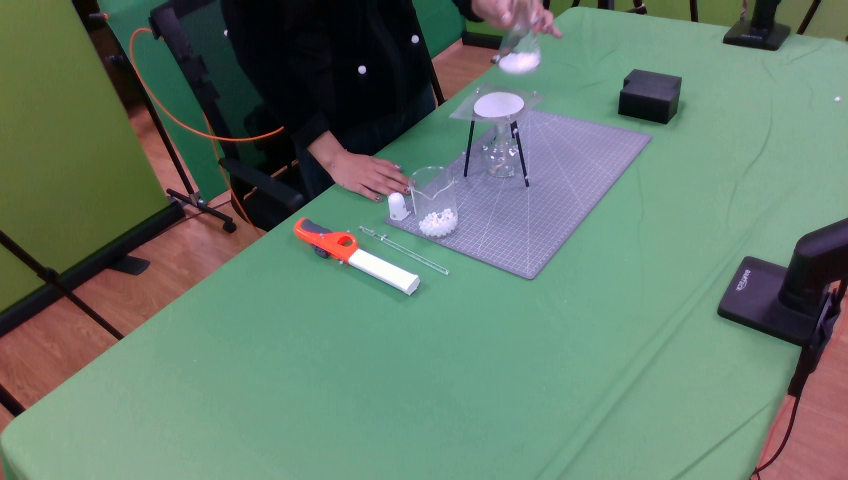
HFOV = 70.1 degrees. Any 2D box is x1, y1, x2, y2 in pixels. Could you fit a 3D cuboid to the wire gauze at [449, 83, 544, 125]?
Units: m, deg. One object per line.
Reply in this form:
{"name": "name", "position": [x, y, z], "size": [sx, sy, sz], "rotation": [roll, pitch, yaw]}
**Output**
{"name": "wire gauze", "position": [0.126, -0.233, 1.039], "size": [0.120, 0.011, 0.125], "rotation": [19, 47, 29]}

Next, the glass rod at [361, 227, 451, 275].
{"name": "glass rod", "position": [-0.033, 0.015, 0.985], "size": [0.198, 0.008, 0.008], "rotation": [26, 52, 34]}

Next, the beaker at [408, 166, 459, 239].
{"name": "beaker", "position": [0.018, -0.057, 0.984], "size": [0.074, 0.101, 0.083], "rotation": [-6, 41, 5]}

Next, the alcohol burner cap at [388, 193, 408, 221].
{"name": "alcohol burner cap", "position": [-0.047, -0.059, 1.043], "size": [0.034, 0.048, 0.033], "rotation": [-5, 40, 5]}

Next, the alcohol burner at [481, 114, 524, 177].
{"name": "alcohol burner", "position": [0.141, -0.174, 1.087], "size": [0.078, 0.119, 0.077], "rotation": [-4, 40, 4]}

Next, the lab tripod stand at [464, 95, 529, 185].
{"name": "lab tripod stand", "position": [0.138, -0.182, 1.082], "size": [0.148, 0.132, 0.147], "rotation": [-6, 38, 6]}

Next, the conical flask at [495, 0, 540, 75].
{"name": "conical flask", "position": [0.152, -0.333, 0.970], "size": [0.075, 0.122, 0.075], "rotation": [-2, 39, 2]}

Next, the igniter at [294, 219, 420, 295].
{"name": "igniter", "position": [-0.118, 0.022, 0.977], "size": [0.274, 0.025, 0.057], "rotation": [24, 60, 34]}
